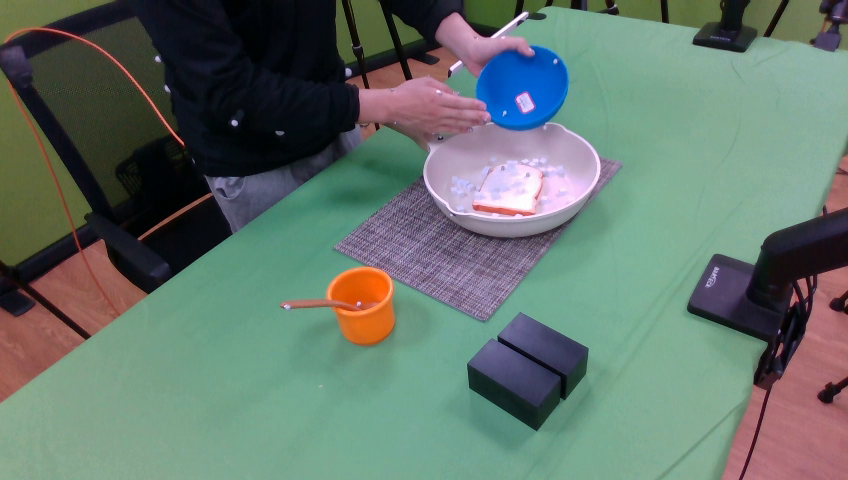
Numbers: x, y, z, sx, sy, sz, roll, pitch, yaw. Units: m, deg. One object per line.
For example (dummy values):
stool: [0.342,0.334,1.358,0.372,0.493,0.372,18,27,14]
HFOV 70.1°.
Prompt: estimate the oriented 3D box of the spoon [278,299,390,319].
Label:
spoon: [-0.113,0.086,0.787,0.041,0.021,0.195,29,7,36]

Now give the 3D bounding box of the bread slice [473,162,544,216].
bread slice: [0.150,-0.088,1.042,0.106,0.018,0.134,7,45,16]

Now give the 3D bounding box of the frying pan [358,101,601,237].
frying pan: [0.067,-0.153,1.067,0.484,0.103,0.308,32,52,26]

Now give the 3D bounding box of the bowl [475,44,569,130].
bowl: [0.166,-0.238,0.999,0.151,0.077,0.151,-6,68,15]
